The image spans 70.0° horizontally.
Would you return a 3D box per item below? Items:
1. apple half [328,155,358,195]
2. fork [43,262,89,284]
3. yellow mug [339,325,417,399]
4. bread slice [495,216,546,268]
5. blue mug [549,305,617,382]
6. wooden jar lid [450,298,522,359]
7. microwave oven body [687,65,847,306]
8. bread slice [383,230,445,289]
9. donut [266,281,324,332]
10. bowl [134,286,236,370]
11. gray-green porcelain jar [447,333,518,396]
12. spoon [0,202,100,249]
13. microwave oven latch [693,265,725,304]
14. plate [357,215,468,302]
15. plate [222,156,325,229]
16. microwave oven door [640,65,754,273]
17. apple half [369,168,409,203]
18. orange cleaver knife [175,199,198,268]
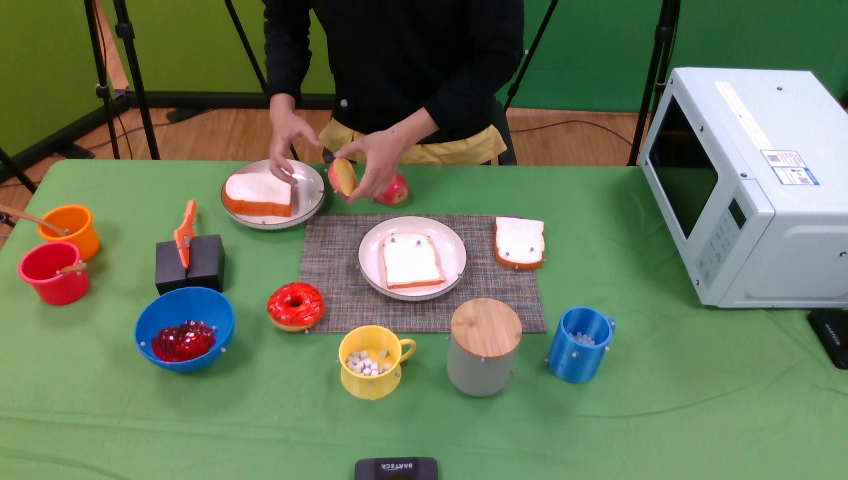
[{"bbox_3d":[-0.161,-0.121,1.158,0.033,0.082,0.081,-15,42,22],"label":"apple half"},{"bbox_3d":[-0.599,0.053,1.013,0.207,0.019,0.028,-14,30,45],"label":"fork"},{"bbox_3d":[-0.072,0.190,0.978,0.131,0.064,0.099,-17,50,-20],"label":"yellow mug"},{"bbox_3d":[0.194,0.002,1.205,0.105,0.019,0.131,5,45,2],"label":"bread slice"},{"bbox_3d":[0.269,0.165,0.997,0.116,0.106,0.082,-19,51,-21],"label":"blue mug"},{"bbox_3d":[0.093,0.135,0.914,0.108,0.021,0.107,2,48,-3],"label":"wooden jar lid"},{"bbox_3d":[0.669,-0.111,1.176,0.326,0.261,0.439,0,46,-3],"label":"microwave oven body"},{"bbox_3d":[-0.028,0.035,1.145,0.107,0.018,0.133,-7,48,-11],"label":"bread slice"},{"bbox_3d":[-0.222,0.115,1.049,0.099,0.048,0.098,2,46,-2],"label":"donut"},{"bbox_3d":[-0.377,0.155,0.981,0.151,0.077,0.150,2,46,-2],"label":"bowl"},{"bbox_3d":[0.091,0.178,0.960,0.106,0.127,0.105,2,46,-2],"label":"gray-green porcelain jar"},{"bbox_3d":[-0.683,-0.031,1.088,0.195,0.021,0.041,33,33,-38],"label":"spoon"},{"bbox_3d":[0.522,0.081,1.115,0.030,0.029,0.078,2,46,-1],"label":"microwave oven latch"},{"bbox_3d":[-0.022,0.037,1.141,0.208,0.039,0.206,2,47,-2],"label":"plate"},{"bbox_3d":[-0.308,-0.095,1.251,0.209,0.038,0.208,2,47,-2],"label":"plate"},{"bbox_3d":[0.522,-0.147,1.193,0.039,0.245,0.353,0,47,-3],"label":"microwave oven door"},{"bbox_3d":[-0.073,-0.122,1.284,0.081,0.053,0.074,-27,55,-27],"label":"apple half"},{"bbox_3d":[-0.438,-0.017,1.138,0.012,0.077,0.210,-13,27,-7],"label":"orange cleaver knife"}]
